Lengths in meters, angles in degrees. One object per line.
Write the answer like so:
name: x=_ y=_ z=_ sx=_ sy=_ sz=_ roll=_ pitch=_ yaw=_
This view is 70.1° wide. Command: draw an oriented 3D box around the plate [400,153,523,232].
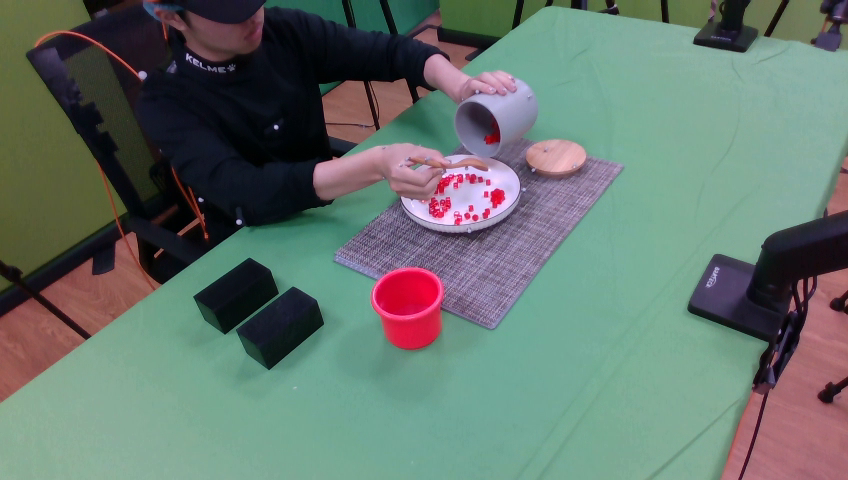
plate: x=0.065 y=-0.078 z=1.034 sx=0.207 sy=0.039 sz=0.206 roll=-4 pitch=41 yaw=4

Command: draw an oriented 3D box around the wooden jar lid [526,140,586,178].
wooden jar lid: x=0.240 y=-0.147 z=1.103 sx=0.108 sy=0.021 sz=0.108 roll=-4 pitch=42 yaw=4

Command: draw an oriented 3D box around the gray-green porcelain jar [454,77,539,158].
gray-green porcelain jar: x=0.130 y=-0.218 z=1.056 sx=0.105 sy=0.106 sz=0.127 roll=25 pitch=48 yaw=32

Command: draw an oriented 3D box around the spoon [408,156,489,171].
spoon: x=0.042 y=-0.119 z=0.949 sx=0.041 sy=0.021 sz=0.195 roll=22 pitch=18 yaw=36
